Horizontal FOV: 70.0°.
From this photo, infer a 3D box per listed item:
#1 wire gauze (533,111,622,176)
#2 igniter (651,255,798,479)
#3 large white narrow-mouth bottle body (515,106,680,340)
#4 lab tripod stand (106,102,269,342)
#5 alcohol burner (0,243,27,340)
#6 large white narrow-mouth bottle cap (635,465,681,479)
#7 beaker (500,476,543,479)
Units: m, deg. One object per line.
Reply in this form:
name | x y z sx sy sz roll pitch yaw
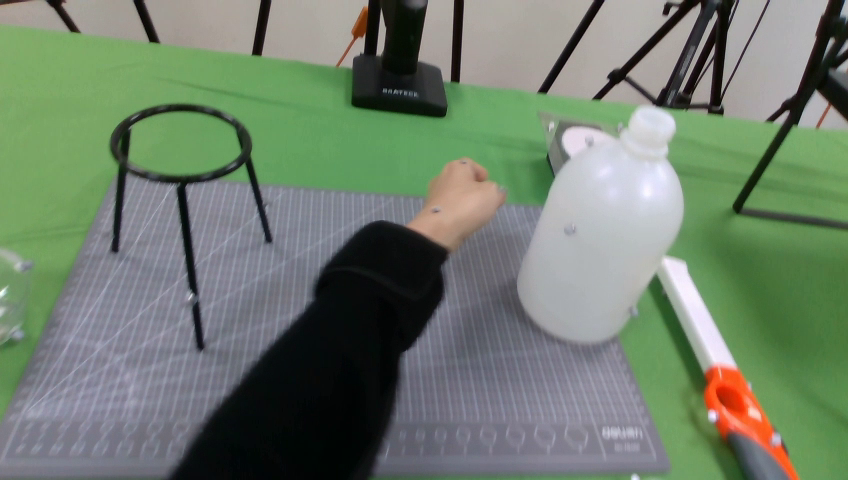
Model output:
wire gauze | 0.186 -0.100 0.663 0.122 0.011 0.123 5 42 -12
igniter | 0.245 0.114 0.500 0.057 0.025 0.273 14 40 -16
large white narrow-mouth bottle body | 0.143 -0.014 0.483 0.102 0.196 0.101 7 42 -6
lab tripod stand | -0.173 -0.020 0.449 0.149 0.132 0.147 9 42 -8
alcohol burner | -0.306 0.017 0.391 0.078 0.120 0.077 9 40 -7
large white narrow-mouth bottle cap | 0.158 0.175 0.413 0.038 0.024 0.037 7 41 -6
beaker | 0.040 0.182 0.313 0.084 0.101 0.073 -4 44 -17
